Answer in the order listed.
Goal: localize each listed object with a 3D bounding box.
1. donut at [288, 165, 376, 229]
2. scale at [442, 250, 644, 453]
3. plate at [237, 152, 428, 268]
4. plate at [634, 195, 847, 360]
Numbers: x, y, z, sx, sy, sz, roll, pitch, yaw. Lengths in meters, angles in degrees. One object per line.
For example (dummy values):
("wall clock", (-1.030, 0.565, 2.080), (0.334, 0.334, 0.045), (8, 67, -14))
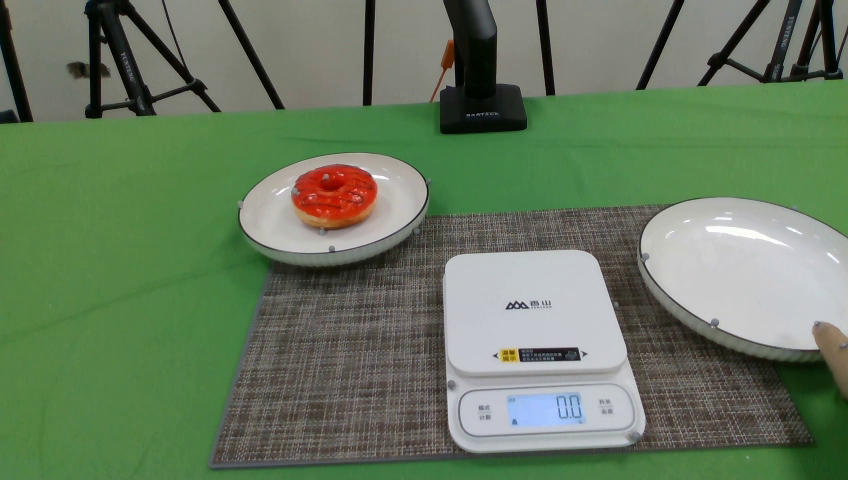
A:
("donut", (-0.102, -0.048, 0.677), (0.099, 0.048, 0.098), (-2, 37, 2))
("scale", (0.091, 0.084, 0.517), (0.148, 0.032, 0.199), (-3, 40, 2))
("plate", (-0.099, -0.033, 0.675), (0.209, 0.038, 0.207), (-3, 37, 3))
("plate", (0.298, 0.032, 0.557), (0.208, 0.039, 0.205), (-1, 39, 1))
